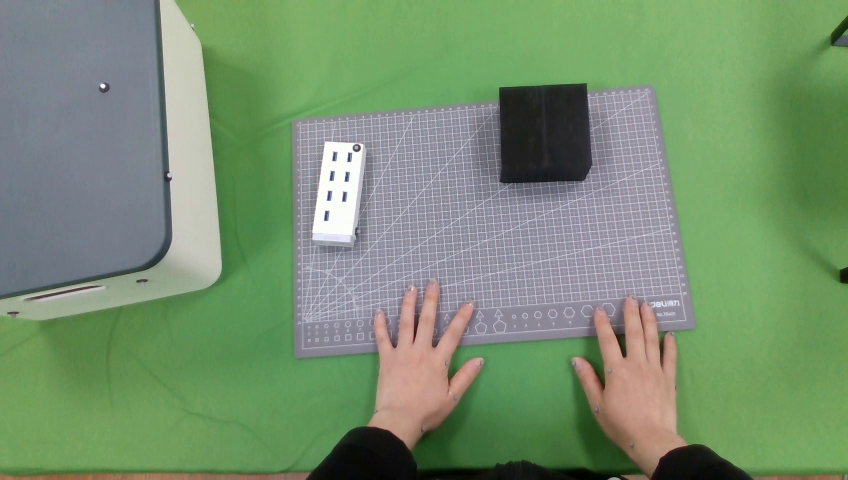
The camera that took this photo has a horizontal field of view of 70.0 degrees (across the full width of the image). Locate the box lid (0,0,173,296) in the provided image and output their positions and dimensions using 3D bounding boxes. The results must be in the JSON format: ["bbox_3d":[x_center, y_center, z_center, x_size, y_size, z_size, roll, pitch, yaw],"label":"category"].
[{"bbox_3d":[-0.394,-0.126,0.616,0.263,0.015,0.369,-11,75,2],"label":"box lid"}]

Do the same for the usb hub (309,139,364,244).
[{"bbox_3d":[-0.104,-0.059,0.724,0.049,0.025,0.124,4,77,5],"label":"usb hub"}]

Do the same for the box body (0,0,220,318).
[{"bbox_3d":[-0.388,-0.107,0.688,0.254,0.161,0.362,-11,75,1],"label":"box body"}]
